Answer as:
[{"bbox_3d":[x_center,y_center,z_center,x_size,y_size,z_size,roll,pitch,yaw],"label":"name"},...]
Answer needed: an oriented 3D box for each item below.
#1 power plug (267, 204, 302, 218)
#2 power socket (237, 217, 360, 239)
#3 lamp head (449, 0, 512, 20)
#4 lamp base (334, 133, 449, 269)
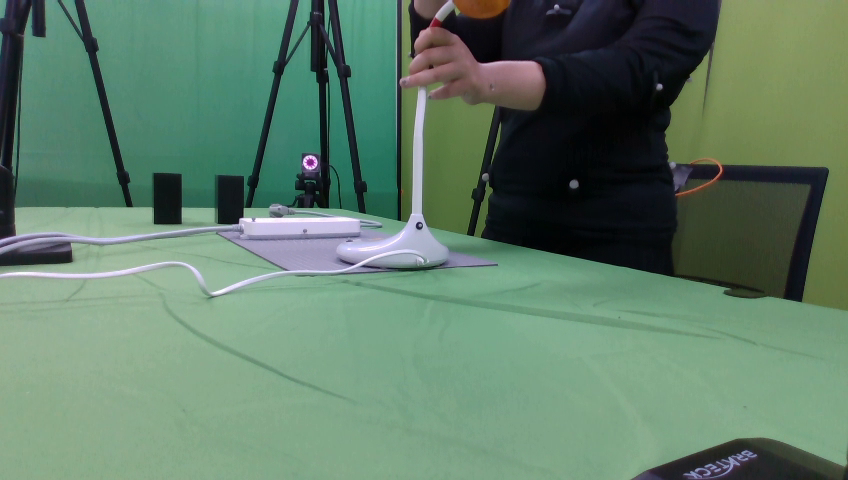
[{"bbox_3d":[-0.327,-0.060,1.404,0.073,0.035,0.052,22,-15,-25],"label":"power plug"},{"bbox_3d":[-0.220,-0.023,1.080,0.228,0.032,0.072,-2,8,-33],"label":"power socket"},{"bbox_3d":[0.065,-0.322,0.705,0.112,0.122,0.112,6,-4,1],"label":"lamp head"},{"bbox_3d":[-0.034,-0.057,0.831,0.161,0.180,0.178,-2,11,-36],"label":"lamp base"}]
